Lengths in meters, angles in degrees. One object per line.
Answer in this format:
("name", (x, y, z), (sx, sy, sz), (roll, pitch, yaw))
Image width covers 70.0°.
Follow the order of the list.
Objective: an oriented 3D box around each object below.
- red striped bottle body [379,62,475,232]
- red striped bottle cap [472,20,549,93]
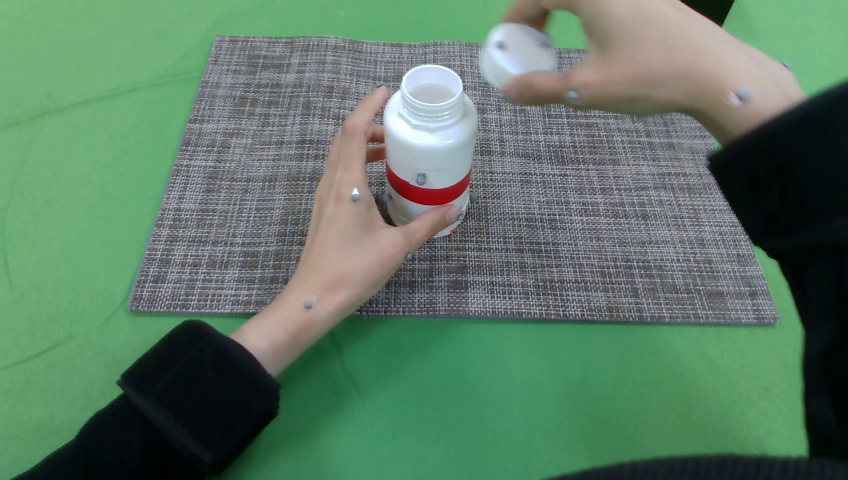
("red striped bottle body", (0.001, -0.064, 0.422), (0.063, 0.120, 0.062), (1, 55, -1))
("red striped bottle cap", (0.052, -0.110, 0.362), (0.045, 0.018, 0.044), (9, 59, -14))
